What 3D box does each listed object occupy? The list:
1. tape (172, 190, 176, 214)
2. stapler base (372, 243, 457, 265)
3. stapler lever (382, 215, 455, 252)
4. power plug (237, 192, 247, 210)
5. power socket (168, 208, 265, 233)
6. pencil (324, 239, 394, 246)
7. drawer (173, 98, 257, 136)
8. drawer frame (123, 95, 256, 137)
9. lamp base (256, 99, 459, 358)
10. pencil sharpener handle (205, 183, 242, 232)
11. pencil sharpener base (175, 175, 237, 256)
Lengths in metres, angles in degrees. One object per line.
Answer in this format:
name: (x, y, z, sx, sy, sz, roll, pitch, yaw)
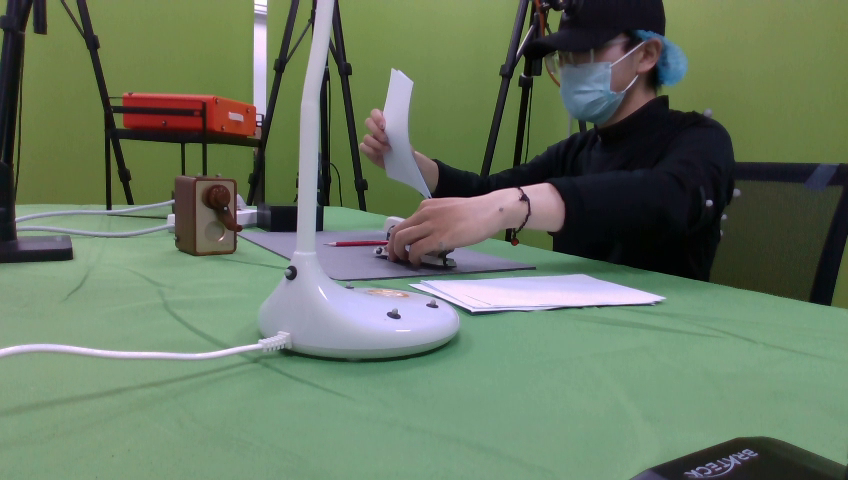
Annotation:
tape: (-0.515, -0.087, 1.388, 0.117, 0.052, 0.117, 3, 7, 0)
stapler base: (-0.015, 0.014, 0.832, 0.130, 0.024, 0.041, 11, 5, 39)
stapler lever: (-0.010, -0.010, 0.831, 0.117, 0.040, 0.027, 9, 4, 39)
power plug: (-0.386, -0.071, 1.204, 0.072, 0.052, 0.035, 7, 8, 26)
power socket: (-0.381, -0.038, 1.129, 0.072, 0.032, 0.227, 4, 8, 17)
pencil: (-0.067, 0.003, 0.980, 0.195, 0.012, 0.012, -3, 9, -25)
drawer: (-0.518, -0.279, 1.376, 0.211, 0.073, 0.195, 3, 8, 9)
drawer frame: (-0.524, -0.281, 1.376, 0.213, 0.082, 0.202, 3, 8, 8)
lamp base: (-0.055, -0.013, 0.463, 0.160, 0.180, 0.180, 6, 11, 27)
pencil sharpener handle: (-0.265, -0.043, 0.812, 0.036, 0.068, 0.030, -32, 28, -35)
pencil sharpener base: (-0.304, -0.036, 0.847, 0.062, 0.107, 0.076, -4, 10, -42)
